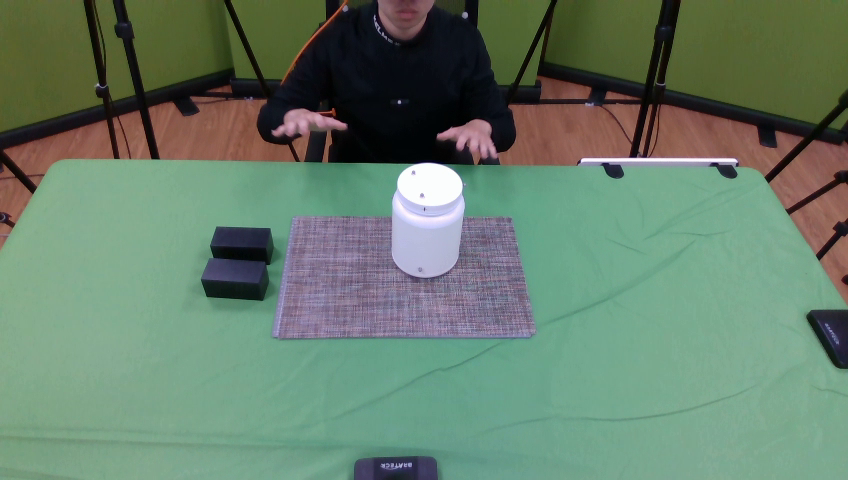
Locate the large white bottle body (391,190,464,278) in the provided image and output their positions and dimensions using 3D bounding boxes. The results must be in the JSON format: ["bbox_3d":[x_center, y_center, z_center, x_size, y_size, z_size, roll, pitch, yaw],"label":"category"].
[{"bbox_3d":[0.005,-0.034,1.114,0.131,0.185,0.130,2,46,-2],"label":"large white bottle body"}]

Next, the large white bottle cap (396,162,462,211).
[{"bbox_3d":[0.009,-0.094,1.053,0.115,0.018,0.114,2,46,-2],"label":"large white bottle cap"}]
